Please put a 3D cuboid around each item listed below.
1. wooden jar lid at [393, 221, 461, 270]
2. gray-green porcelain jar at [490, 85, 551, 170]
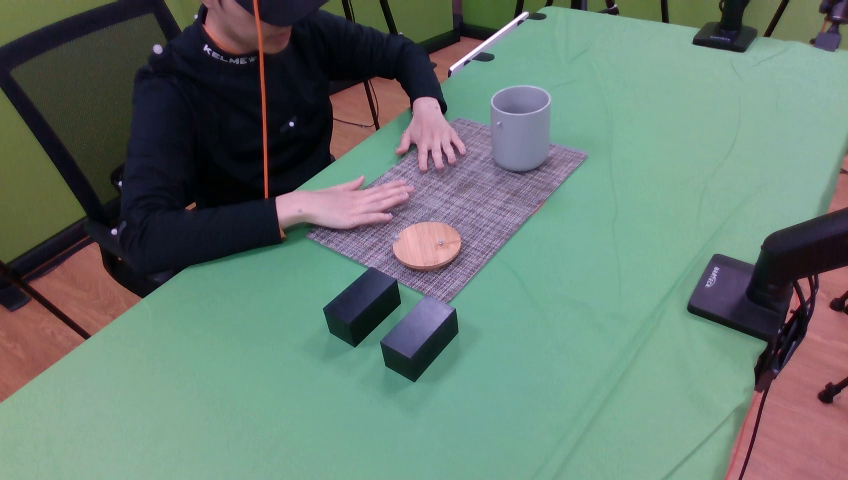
[{"bbox_3d":[0.005,0.010,0.952,0.108,0.021,0.108,-4,40,4],"label":"wooden jar lid"},{"bbox_3d":[0.173,-0.198,1.087,0.106,0.127,0.105,-4,41,4],"label":"gray-green porcelain jar"}]
